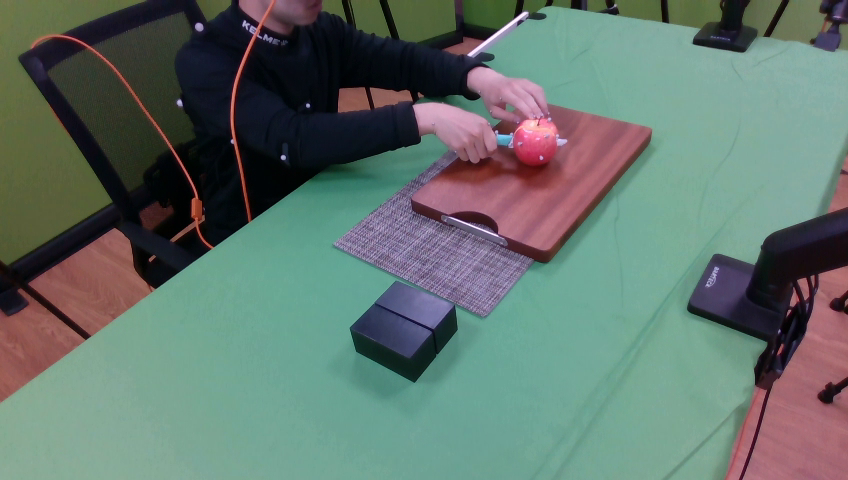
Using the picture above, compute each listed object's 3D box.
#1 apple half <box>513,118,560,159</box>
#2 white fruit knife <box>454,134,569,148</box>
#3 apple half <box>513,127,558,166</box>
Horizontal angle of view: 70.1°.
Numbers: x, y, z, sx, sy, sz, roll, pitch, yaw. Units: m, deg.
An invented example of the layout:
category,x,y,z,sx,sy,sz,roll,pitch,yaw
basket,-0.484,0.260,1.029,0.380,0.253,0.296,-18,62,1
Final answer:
category,x,y,z,sx,sy,sz,roll,pitch,yaw
apple half,0.201,-0.179,1.066,0.080,0.075,0.053,7,38,21
white fruit knife,0.149,-0.174,1.059,0.206,0.027,0.016,4,41,22
apple half,0.188,-0.153,1.038,0.081,0.081,0.033,9,45,18
